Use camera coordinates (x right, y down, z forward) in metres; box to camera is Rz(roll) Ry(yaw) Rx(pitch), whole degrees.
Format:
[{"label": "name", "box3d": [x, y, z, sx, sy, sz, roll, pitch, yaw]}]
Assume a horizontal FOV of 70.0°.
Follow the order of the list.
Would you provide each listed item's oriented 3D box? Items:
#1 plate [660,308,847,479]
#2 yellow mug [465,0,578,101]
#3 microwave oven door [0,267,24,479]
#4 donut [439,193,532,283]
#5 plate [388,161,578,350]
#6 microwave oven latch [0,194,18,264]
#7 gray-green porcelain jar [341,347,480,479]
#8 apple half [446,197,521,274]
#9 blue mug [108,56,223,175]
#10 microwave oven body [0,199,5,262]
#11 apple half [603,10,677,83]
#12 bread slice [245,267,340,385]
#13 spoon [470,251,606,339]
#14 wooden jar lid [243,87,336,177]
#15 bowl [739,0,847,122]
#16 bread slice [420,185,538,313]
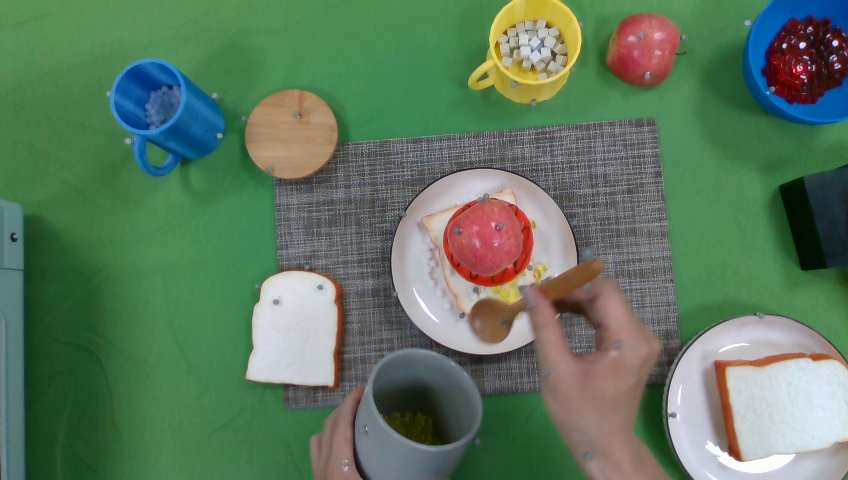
[{"label": "plate", "box3d": [0.356, 0.177, 0.653, 0.209, 0.038, 0.208, 0, 85, 3]}, {"label": "yellow mug", "box3d": [0.105, -0.209, 0.684, 0.131, 0.064, 0.099, -28, 84, 1]}, {"label": "microwave oven door", "box3d": [-0.474, 0.196, 0.568, 0.039, 0.244, 0.355, -5, 84, 3]}, {"label": "donut", "box3d": [0.066, -0.002, 0.650, 0.099, 0.048, 0.099, 0, 86, 4]}, {"label": "plate", "box3d": [0.064, 0.017, 0.677, 0.207, 0.039, 0.207, 0, 85, 3]}, {"label": "microwave oven latch", "box3d": [-0.482, -0.012, 0.688, 0.030, 0.029, 0.079, -1, 85, 2]}, {"label": "gray-green porcelain jar", "box3d": [-0.018, 0.180, 0.565, 0.105, 0.105, 0.127, 26, 127, 5]}, {"label": "apple half", "box3d": [0.062, -0.006, 0.614, 0.081, 0.033, 0.081, -1, 83, 10]}, {"label": "blue mug", "box3d": [-0.288, -0.129, 0.674, 0.082, 0.106, 0.116, 16, 86, 4]}, {"label": "microwave oven body", "box3d": [-0.622, 0.165, 0.582, 0.326, 0.260, 0.440, -4, 85, 2]}, {"label": "apple half", "box3d": [0.247, -0.225, 0.686, 0.074, 0.053, 0.080, 18, 86, 7]}, {"label": "bread slice", "box3d": [-0.148, 0.096, 0.690, 0.105, 0.019, 0.131, 3, 86, 2]}, {"label": "spoon", "box3d": [0.078, 0.044, 0.454, 0.022, 0.194, 0.041, -22, 80, -21]}, {"label": "wooden jar lid", "box3d": [-0.156, -0.124, 0.708, 0.108, 0.021, 0.108, 0, 82, 3]}, {"label": "bowl", "box3d": [0.411, -0.195, 0.663, 0.151, 0.077, 0.151, 0, 85, 3]}, {"label": "bread slice", "box3d": [0.069, 0.015, 0.678, 0.107, 0.018, 0.134, -22, 83, 1]}]
